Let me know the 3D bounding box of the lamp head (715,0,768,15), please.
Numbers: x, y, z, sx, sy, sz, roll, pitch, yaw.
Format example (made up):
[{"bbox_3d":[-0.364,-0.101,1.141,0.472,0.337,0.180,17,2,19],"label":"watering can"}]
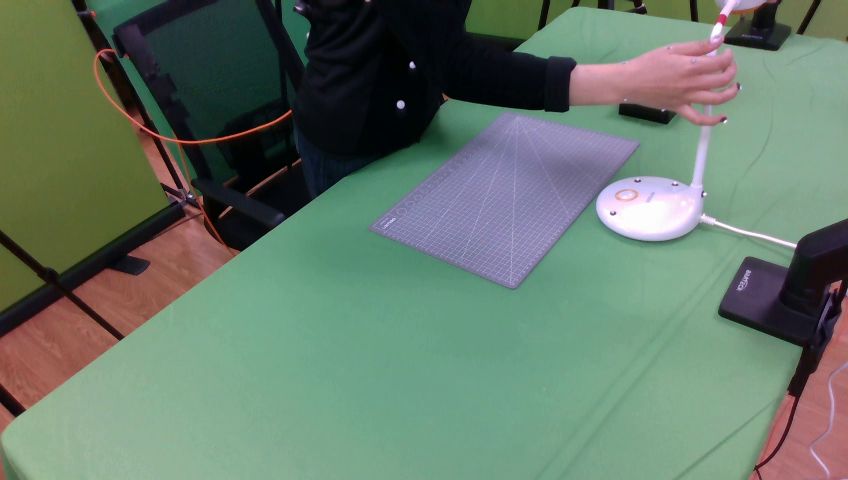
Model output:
[{"bbox_3d":[0.448,-0.381,0.851,0.112,0.123,0.112,-13,38,11],"label":"lamp head"}]

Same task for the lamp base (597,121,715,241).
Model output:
[{"bbox_3d":[0.364,-0.110,0.921,0.178,0.181,0.160,13,45,21],"label":"lamp base"}]
